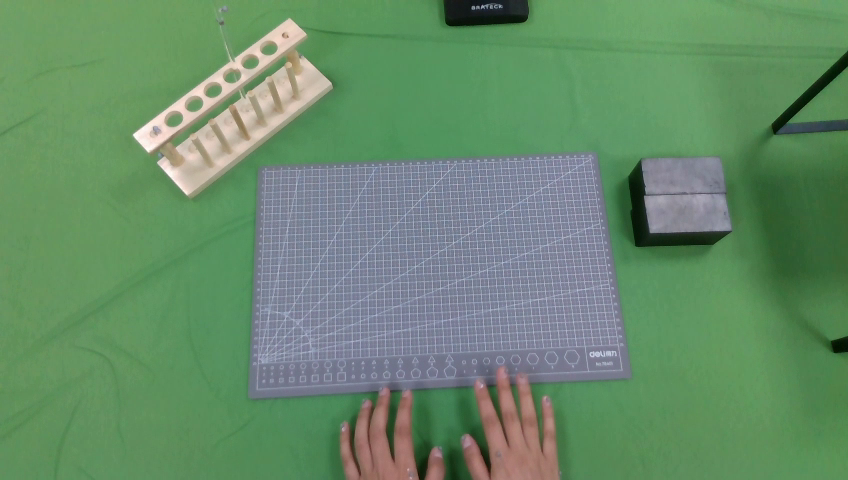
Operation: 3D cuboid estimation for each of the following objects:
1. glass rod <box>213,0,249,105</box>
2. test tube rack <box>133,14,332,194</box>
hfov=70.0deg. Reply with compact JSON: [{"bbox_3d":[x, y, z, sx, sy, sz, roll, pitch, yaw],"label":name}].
[{"bbox_3d":[-0.230,-0.227,0.726,0.008,0.201,0.008,2,64,-4],"label":"glass rod"},{"bbox_3d":[-0.237,-0.173,0.777,0.242,0.085,0.066,-42,76,-13],"label":"test tube rack"}]
